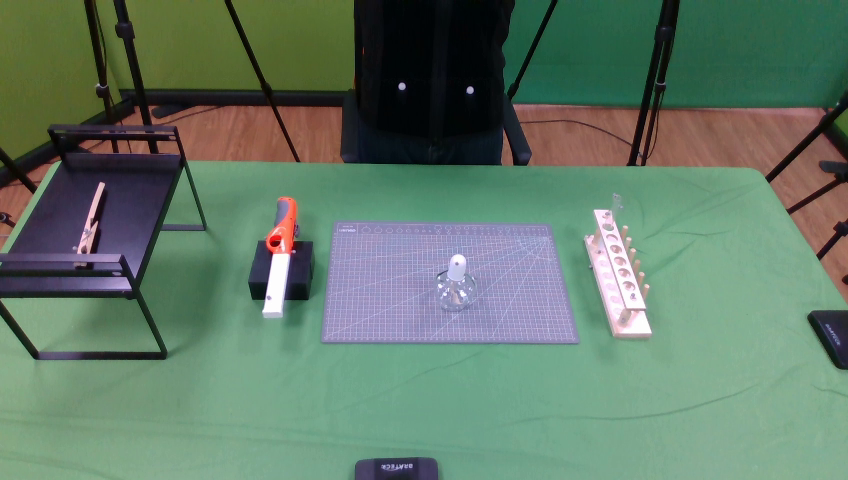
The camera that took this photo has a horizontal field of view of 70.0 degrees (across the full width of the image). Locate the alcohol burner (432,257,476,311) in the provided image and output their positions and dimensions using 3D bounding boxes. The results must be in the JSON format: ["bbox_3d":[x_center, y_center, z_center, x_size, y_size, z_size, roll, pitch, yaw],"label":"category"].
[{"bbox_3d":[0.055,0.070,1.068,0.078,0.119,0.077,3,45,-3],"label":"alcohol burner"}]

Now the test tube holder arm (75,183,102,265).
[{"bbox_3d":[-0.517,-0.030,0.937,0.013,0.015,0.177,24,33,-36],"label":"test tube holder arm"}]

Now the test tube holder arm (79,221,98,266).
[{"bbox_3d":[-0.503,0.004,0.909,0.010,0.015,0.087,25,33,-35],"label":"test tube holder arm"}]

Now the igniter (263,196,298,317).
[{"bbox_3d":[-0.259,0.020,1.089,0.057,0.025,0.274,-2,49,-3],"label":"igniter"}]

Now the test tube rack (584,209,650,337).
[{"bbox_3d":[0.365,0.056,1.129,0.067,0.085,0.240,1,46,-4],"label":"test tube rack"}]

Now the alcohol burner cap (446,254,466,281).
[{"bbox_3d":[0.058,0.045,1.042,0.034,0.048,0.033,4,45,-4],"label":"alcohol burner cap"}]

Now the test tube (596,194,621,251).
[{"bbox_3d":[0.346,-0.029,1.141,0.017,0.151,0.017,0,50,0],"label":"test tube"}]
